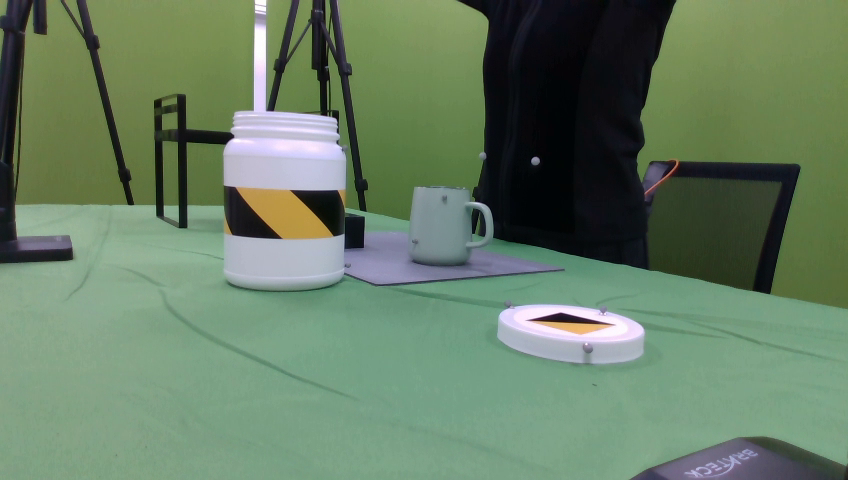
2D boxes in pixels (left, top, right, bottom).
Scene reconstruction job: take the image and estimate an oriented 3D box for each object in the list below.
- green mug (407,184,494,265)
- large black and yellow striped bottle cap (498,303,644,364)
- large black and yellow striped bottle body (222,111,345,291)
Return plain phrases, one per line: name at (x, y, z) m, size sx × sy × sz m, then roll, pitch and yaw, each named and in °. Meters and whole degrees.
green mug at (0.038, -0.021, 0.827) m, size 0.125 × 0.105 × 0.093 m, roll 6°, pitch 8°, yaw 29°
large black and yellow striped bottle cap at (0.117, 0.072, 0.487) m, size 0.115 × 0.019 × 0.115 m, roll 1°, pitch 8°, yaw 0°
large black and yellow striped bottle body at (-0.153, -0.045, 0.667) m, size 0.131 × 0.184 × 0.130 m, roll 2°, pitch 8°, yaw 0°
